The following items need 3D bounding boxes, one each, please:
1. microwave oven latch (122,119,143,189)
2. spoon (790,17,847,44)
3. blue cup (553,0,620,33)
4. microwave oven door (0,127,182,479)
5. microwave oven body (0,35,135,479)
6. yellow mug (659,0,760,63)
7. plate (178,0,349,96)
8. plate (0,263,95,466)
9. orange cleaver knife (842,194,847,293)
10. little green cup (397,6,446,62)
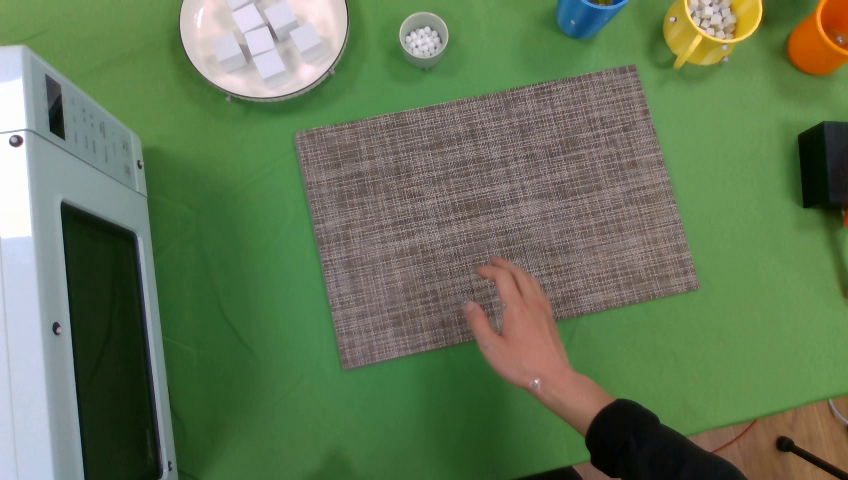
[{"bbox_3d":[-0.351,-0.099,0.711,0.030,0.029,0.079,-8,83,-4],"label":"microwave oven latch"},{"bbox_3d":[0.547,-0.251,0.734,0.022,0.192,0.041,41,80,-41],"label":"spoon"},{"bbox_3d":[0.202,-0.308,0.751,0.093,0.100,0.092,0,83,-3],"label":"blue cup"},{"bbox_3d":[-0.312,0.099,0.581,0.039,0.244,0.354,-10,82,-4],"label":"microwave oven door"},{"bbox_3d":[-0.463,0.082,0.583,0.326,0.260,0.440,-9,83,-4],"label":"microwave oven body"},{"bbox_3d":[0.354,-0.280,0.771,0.100,0.064,0.130,35,83,3],"label":"yellow mug"},{"bbox_3d":[-0.198,-0.276,0.761,0.208,0.039,0.207,0,82,-2],"label":"plate"},{"bbox_3d":[-0.446,0.128,0.630,0.209,0.038,0.208,0,81,-3],"label":"plate"},{"bbox_3d":[0.538,-0.039,0.737,0.012,0.076,0.212,2,111,0],"label":"orange cleaver knife"},{"bbox_3d":[-0.004,-0.258,0.767,0.061,0.039,0.061,0,82,-2],"label":"little green cup"}]
